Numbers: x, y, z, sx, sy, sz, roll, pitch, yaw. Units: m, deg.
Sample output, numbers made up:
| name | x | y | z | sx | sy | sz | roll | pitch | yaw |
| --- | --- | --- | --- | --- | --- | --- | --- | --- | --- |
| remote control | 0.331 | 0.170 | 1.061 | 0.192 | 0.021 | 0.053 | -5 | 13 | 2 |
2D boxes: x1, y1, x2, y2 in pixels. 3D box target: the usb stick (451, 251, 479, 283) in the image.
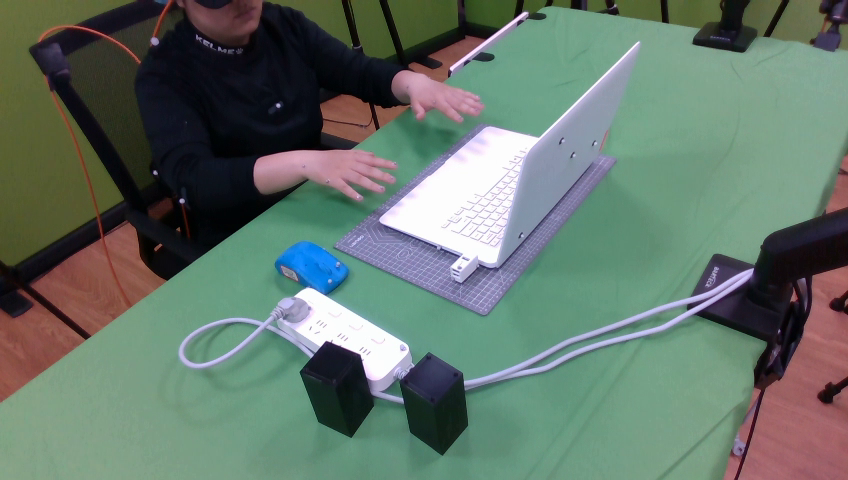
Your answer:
| name | x | y | z | sx | sy | sz | roll | pitch | yaw |
| --- | --- | --- | --- | --- | --- | --- | --- | --- | --- |
| usb stick | 0.065 | 0.036 | 0.900 | 0.021 | 0.027 | 0.059 | 24 | 46 | 31 |

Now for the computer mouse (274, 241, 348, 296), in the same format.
| name | x | y | z | sx | sy | sz | roll | pitch | yaw |
| --- | --- | --- | --- | --- | --- | --- | --- | --- | --- |
| computer mouse | -0.175 | 0.040 | 0.936 | 0.116 | 0.041 | 0.063 | 27 | 48 | 27 |

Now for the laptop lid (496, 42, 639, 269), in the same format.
| name | x | y | z | sx | sy | sz | roll | pitch | yaw |
| --- | --- | --- | --- | --- | --- | --- | --- | --- | --- |
| laptop lid | 0.220 | -0.130 | 0.913 | 0.013 | 0.242 | 0.357 | 31 | 51 | 21 |

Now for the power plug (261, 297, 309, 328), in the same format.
| name | x | y | z | sx | sy | sz | roll | pitch | yaw |
| --- | --- | --- | --- | --- | --- | --- | --- | --- | --- |
| power plug | -0.192 | 0.107 | 0.831 | 0.073 | 0.053 | 0.035 | -32 | 43 | -25 |

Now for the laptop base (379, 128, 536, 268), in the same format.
| name | x | y | z | sx | sy | sz | roll | pitch | yaw |
| --- | --- | --- | --- | --- | --- | --- | --- | --- | --- |
| laptop base | 0.118 | -0.088 | 1.059 | 0.233 | 0.023 | 0.355 | 19 | 47 | 32 |

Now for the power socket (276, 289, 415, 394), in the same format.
| name | x | y | z | sx | sy | sz | roll | pitch | yaw |
| --- | --- | --- | --- | --- | --- | --- | --- | --- | --- |
| power socket | -0.114 | 0.133 | 0.821 | 0.225 | 0.033 | 0.072 | 25 | 49 | 33 |
